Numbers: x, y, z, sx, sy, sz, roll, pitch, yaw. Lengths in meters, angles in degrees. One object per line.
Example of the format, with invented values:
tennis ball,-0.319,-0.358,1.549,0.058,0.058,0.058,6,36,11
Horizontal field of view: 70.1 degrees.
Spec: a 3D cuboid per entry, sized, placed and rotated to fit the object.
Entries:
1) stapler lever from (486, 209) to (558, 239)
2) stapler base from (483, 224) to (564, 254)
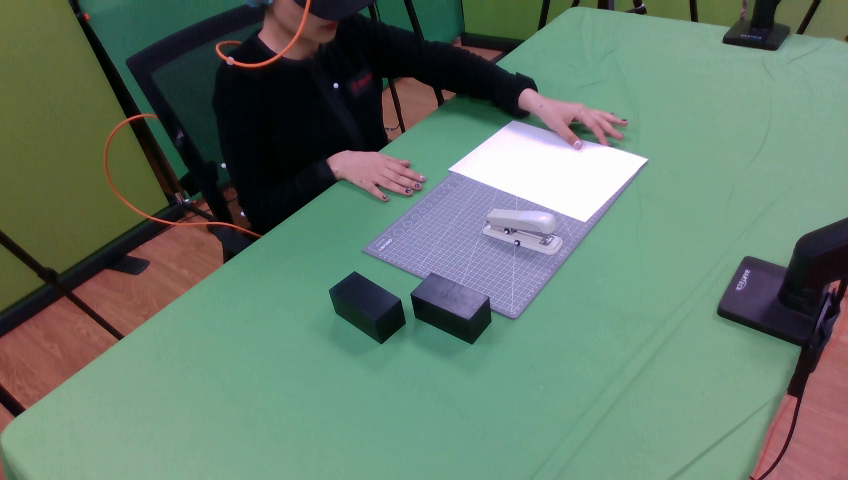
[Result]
stapler lever,0.153,-0.032,0.947,0.117,0.040,0.027,17,45,31
stapler base,0.158,-0.012,0.963,0.129,0.024,0.041,17,45,31
